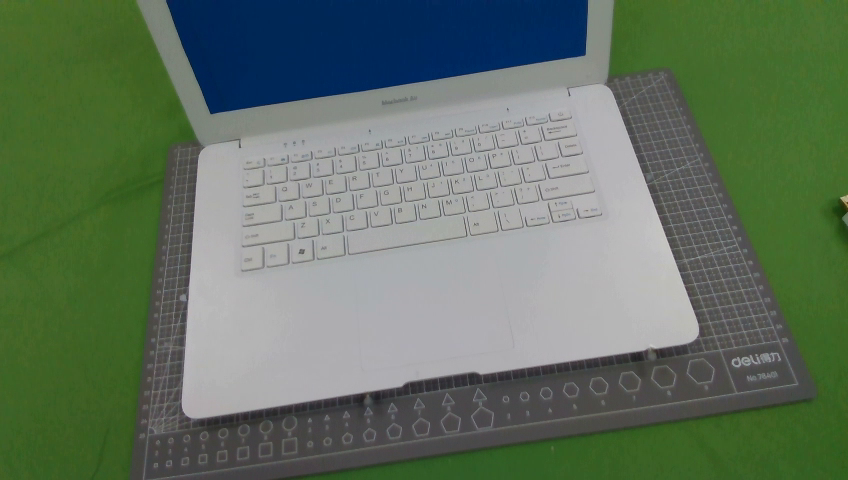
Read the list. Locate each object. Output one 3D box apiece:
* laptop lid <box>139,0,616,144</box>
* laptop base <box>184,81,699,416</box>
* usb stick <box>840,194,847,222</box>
[{"bbox_3d":[-0.031,-0.192,0.444,0.357,0.244,0.013,-10,42,2],"label":"laptop lid"},{"bbox_3d":[-0.002,-0.005,0.465,0.354,0.023,0.233,-9,63,1],"label":"laptop base"},{"bbox_3d":[0.323,-0.014,0.432,0.021,0.027,0.058,-18,57,-3],"label":"usb stick"}]
